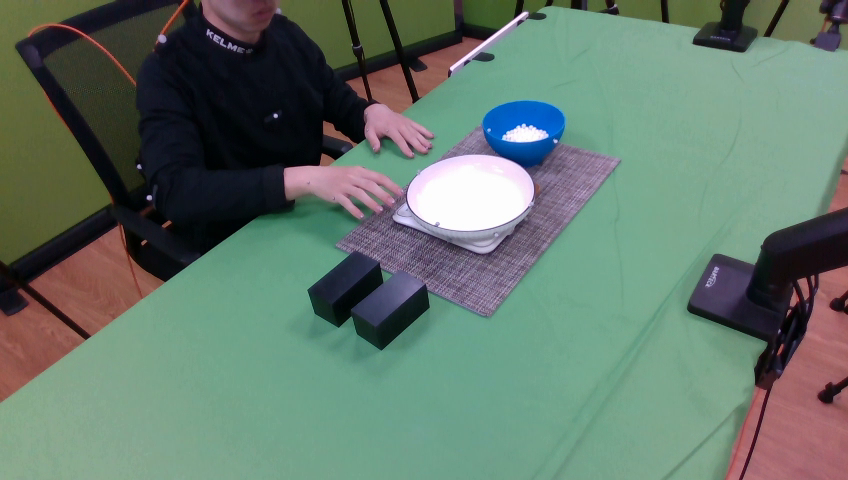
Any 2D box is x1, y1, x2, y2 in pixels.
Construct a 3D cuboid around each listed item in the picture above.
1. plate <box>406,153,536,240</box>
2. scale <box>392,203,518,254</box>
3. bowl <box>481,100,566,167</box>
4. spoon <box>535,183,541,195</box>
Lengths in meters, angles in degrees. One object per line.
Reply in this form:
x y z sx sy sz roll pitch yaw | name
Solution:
0.075 -0.067 0.973 0.209 0.038 0.208 -4 41 4 | plate
0.061 -0.050 1.006 0.199 0.032 0.149 22 48 30 | scale
0.183 -0.187 1.111 0.151 0.077 0.150 -4 41 4 | bowl
0.120 -0.108 1.071 0.192 0.022 0.041 22 62 31 | spoon
